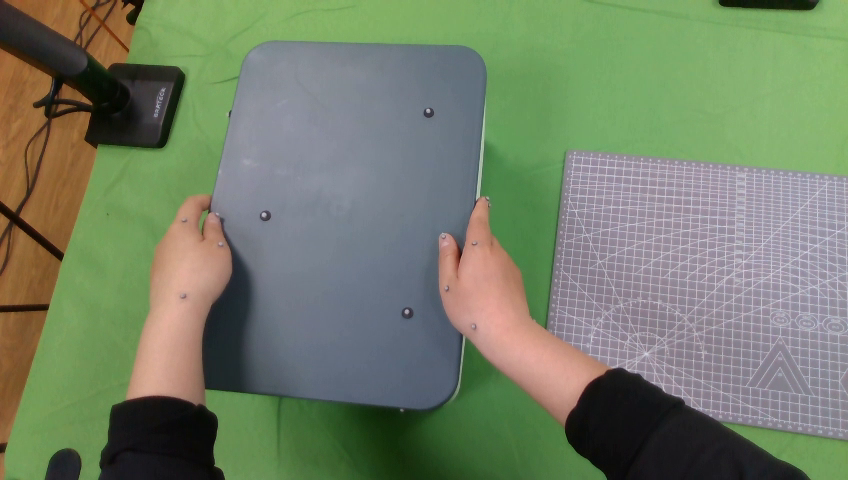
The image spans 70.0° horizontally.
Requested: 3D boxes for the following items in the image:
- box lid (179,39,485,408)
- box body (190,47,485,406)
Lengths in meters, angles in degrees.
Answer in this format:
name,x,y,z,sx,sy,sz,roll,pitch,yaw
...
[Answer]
name,x,y,z,sx,sy,sz,roll,pitch,yaw
box lid,-0.082,-0.036,0.591,0.263,0.015,0.369,3,74,7
box body,-0.070,-0.009,0.670,0.254,0.161,0.362,4,74,8
